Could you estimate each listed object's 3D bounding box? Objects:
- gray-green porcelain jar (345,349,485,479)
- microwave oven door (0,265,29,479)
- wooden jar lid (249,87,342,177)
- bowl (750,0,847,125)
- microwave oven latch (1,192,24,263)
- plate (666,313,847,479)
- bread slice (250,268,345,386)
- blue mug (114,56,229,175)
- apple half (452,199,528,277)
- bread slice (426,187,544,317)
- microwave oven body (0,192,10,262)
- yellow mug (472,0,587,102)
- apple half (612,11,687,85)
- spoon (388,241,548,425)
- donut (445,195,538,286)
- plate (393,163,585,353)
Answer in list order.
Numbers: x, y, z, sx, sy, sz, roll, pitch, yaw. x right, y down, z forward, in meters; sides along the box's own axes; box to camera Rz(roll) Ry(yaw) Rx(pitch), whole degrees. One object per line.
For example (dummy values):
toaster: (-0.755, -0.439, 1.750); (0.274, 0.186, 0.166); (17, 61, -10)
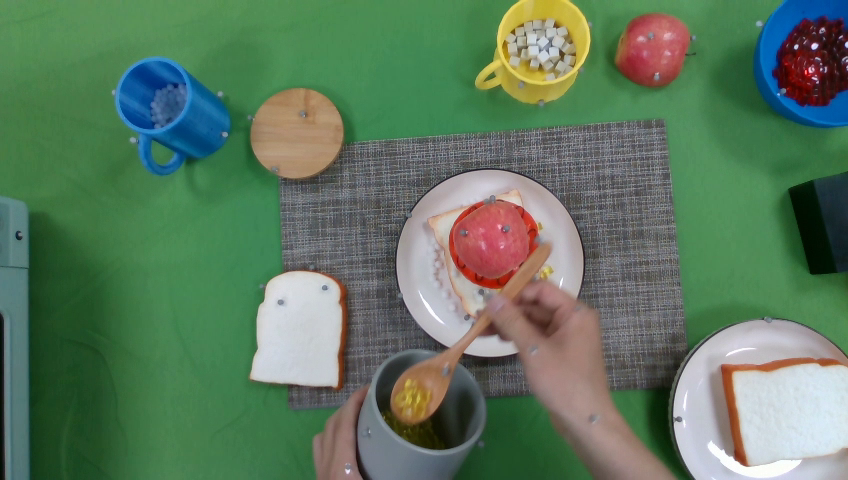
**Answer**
gray-green porcelain jar: (-0.014, 0.181, 0.561); (0.105, 0.105, 0.127); (26, 129, 5)
microwave oven door: (-0.470, 0.196, 0.570); (0.039, 0.244, 0.355); (-4, 85, 3)
wooden jar lid: (-0.148, -0.124, 0.705); (0.108, 0.021, 0.108); (-1, 82, 4)
bowl: (0.418, -0.189, 0.654); (0.151, 0.077, 0.151); (0, 86, 3)
microwave oven latch: (-0.475, -0.013, 0.688); (0.030, 0.029, 0.079); (0, 86, 3)
plate: (0.361, 0.182, 0.648); (0.209, 0.038, 0.208); (0, 85, 3)
bread slice: (-0.142, 0.097, 0.688); (0.105, 0.019, 0.131); (3, 87, 3)
blue mug: (-0.281, -0.129, 0.672); (0.082, 0.106, 0.116); (17, 86, 5)
apple half: (0.067, -0.003, 0.610); (0.081, 0.033, 0.081); (-1, 84, 10)
bread slice: (0.075, 0.018, 0.674); (0.107, 0.018, 0.134); (-21, 84, 2)
microwave oven body: (-0.617, 0.164, 0.585); (0.326, 0.260, 0.440); (-4, 86, 2)
yellow mug: (0.113, -0.206, 0.678); (0.131, 0.064, 0.099); (-28, 84, 1)
apple half: (0.255, -0.221, 0.678); (0.074, 0.053, 0.080); (19, 87, 7)
spoon: (0.038, 0.077, 0.497); (0.041, 0.021, 0.194); (41, 103, 3)
donut: (0.073, 0.001, 0.646); (0.099, 0.048, 0.099); (0, 86, 3)
plate: (0.070, 0.020, 0.672); (0.207, 0.039, 0.207); (0, 86, 3)
